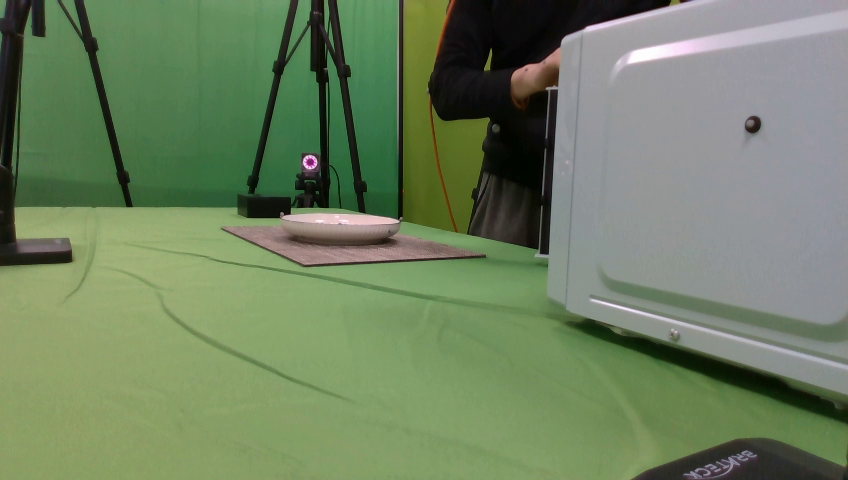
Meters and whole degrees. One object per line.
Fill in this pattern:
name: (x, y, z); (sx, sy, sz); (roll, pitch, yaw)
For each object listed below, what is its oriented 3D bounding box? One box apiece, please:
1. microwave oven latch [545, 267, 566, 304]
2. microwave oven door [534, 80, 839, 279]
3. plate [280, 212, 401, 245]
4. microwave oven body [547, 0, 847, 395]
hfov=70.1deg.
microwave oven latch: (0.148, 0.039, 0.555); (0.079, 0.029, 0.030); (-1, 7, -28)
microwave oven door: (0.330, -0.086, 0.807); (0.354, 0.243, 0.039); (5, 8, 23)
plate: (-0.145, -0.021, 1.057); (0.209, 0.038, 0.209); (2, 8, 0)
microwave oven body: (0.378, -0.045, 0.510); (0.444, 0.260, 0.324); (-2, 7, -31)
